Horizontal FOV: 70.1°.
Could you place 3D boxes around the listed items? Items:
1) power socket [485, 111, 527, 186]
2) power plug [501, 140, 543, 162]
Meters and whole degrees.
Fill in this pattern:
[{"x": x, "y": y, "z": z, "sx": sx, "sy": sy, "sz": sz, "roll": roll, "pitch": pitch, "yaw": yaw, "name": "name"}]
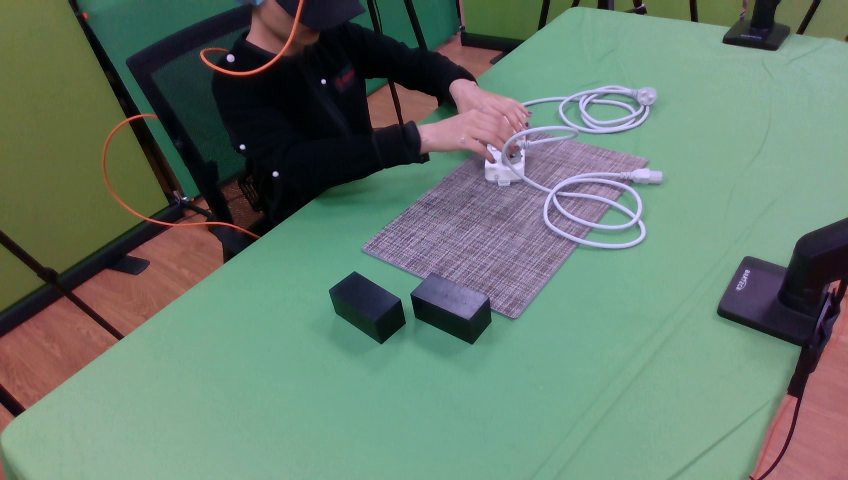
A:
[{"x": 0.158, "y": -0.181, "z": 1.153, "sx": 0.072, "sy": 0.033, "sz": 0.226, "roll": 0, "pitch": 40, "yaw": 11, "name": "power socket"}, {"x": 0.174, "y": -0.150, "z": 1.079, "sx": 0.072, "sy": 0.053, "sz": 0.035, "roll": 7, "pitch": 43, "yaw": 19, "name": "power plug"}]
